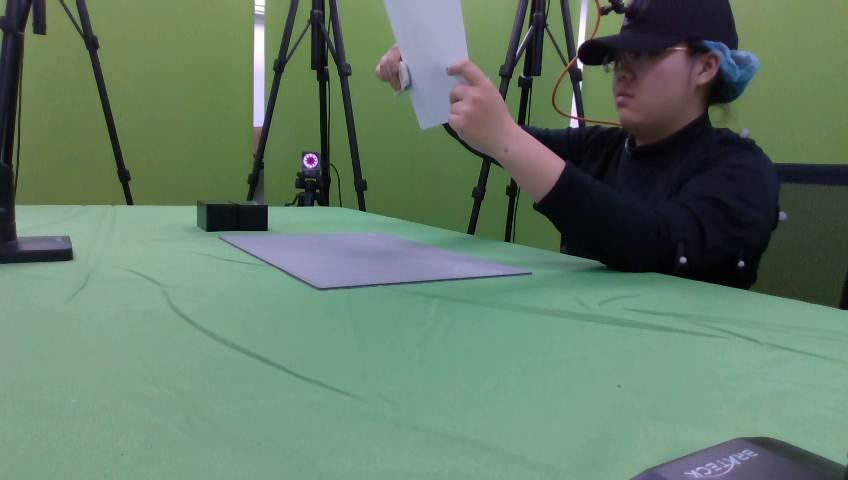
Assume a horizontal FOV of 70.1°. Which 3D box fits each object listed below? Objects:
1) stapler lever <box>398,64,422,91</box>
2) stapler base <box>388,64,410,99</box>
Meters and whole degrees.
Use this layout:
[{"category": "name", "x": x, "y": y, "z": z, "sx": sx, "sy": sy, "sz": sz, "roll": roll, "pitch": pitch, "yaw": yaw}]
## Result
[{"category": "stapler lever", "x": -0.024, "y": -0.279, "z": 1.042, "sx": 0.040, "sy": 0.027, "sz": 0.118, "roll": -17, "pitch": 8, "yaw": 1}, {"category": "stapler base", "x": -0.037, "y": -0.274, "z": 1.039, "sx": 0.024, "sy": 0.041, "sz": 0.130, "roll": -19, "pitch": 8, "yaw": -11}]
